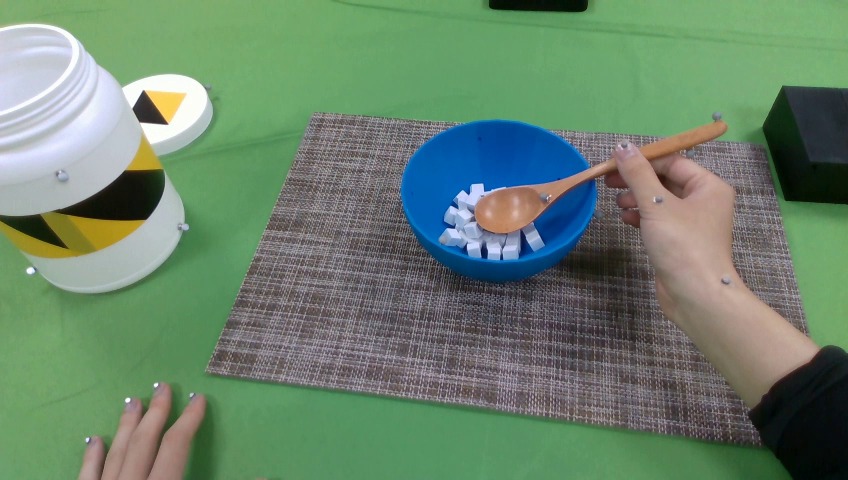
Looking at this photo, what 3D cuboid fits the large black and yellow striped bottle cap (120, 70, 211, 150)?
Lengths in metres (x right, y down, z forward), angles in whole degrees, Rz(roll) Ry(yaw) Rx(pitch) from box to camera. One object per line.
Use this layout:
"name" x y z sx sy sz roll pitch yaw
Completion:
"large black and yellow striped bottle cap" -0.285 -0.138 0.638 0.115 0.019 0.114 0 53 1

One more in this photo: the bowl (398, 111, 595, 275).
"bowl" 0.056 -0.025 0.492 0.151 0.077 0.150 -1 53 2

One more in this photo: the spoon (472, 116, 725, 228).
"spoon" 0.128 -0.053 0.459 0.193 0.022 0.041 -21 58 19

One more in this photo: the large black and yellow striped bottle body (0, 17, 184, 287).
"large black and yellow striped bottle body" -0.283 -0.063 0.475 0.131 0.185 0.129 -1 53 2
